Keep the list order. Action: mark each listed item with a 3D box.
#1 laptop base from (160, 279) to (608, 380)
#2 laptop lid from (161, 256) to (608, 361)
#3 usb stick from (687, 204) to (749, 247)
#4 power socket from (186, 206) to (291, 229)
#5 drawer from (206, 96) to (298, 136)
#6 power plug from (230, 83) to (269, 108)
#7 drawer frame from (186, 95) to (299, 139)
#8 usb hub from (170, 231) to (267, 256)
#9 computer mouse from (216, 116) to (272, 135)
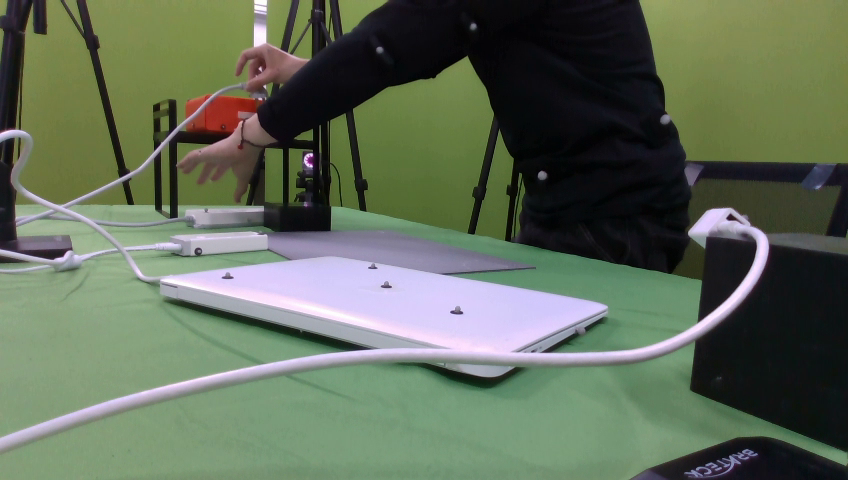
[{"bbox_3d":[-0.039,0.059,0.555,0.352,0.023,0.237,8,7,33],"label":"laptop base"},{"bbox_3d":[-0.037,0.046,0.556,0.355,0.013,0.243,8,8,35],"label":"laptop lid"},{"bbox_3d":[0.214,-0.010,0.448,0.021,0.027,0.059,40,2,6],"label":"usb stick"},{"bbox_3d":[-0.364,-0.048,1.207,0.072,0.032,0.228,7,9,36],"label":"power socket"},{"bbox_3d":[-0.414,-0.275,1.376,0.195,0.073,0.210,-3,8,-31],"label":"drawer"},{"bbox_3d":[-0.353,-0.293,1.233,0.073,0.052,0.035,-7,21,-10],"label":"power plug"},{"bbox_3d":[-0.417,-0.277,1.378,0.203,0.082,0.212,-3,8,-32],"label":"drawer frame"},{"bbox_3d":[-0.290,0.004,0.862,0.049,0.025,0.126,11,11,42],"label":"usb hub"},{"bbox_3d":[-0.402,-0.257,1.353,0.118,0.041,0.062,-5,14,-35],"label":"computer mouse"}]
